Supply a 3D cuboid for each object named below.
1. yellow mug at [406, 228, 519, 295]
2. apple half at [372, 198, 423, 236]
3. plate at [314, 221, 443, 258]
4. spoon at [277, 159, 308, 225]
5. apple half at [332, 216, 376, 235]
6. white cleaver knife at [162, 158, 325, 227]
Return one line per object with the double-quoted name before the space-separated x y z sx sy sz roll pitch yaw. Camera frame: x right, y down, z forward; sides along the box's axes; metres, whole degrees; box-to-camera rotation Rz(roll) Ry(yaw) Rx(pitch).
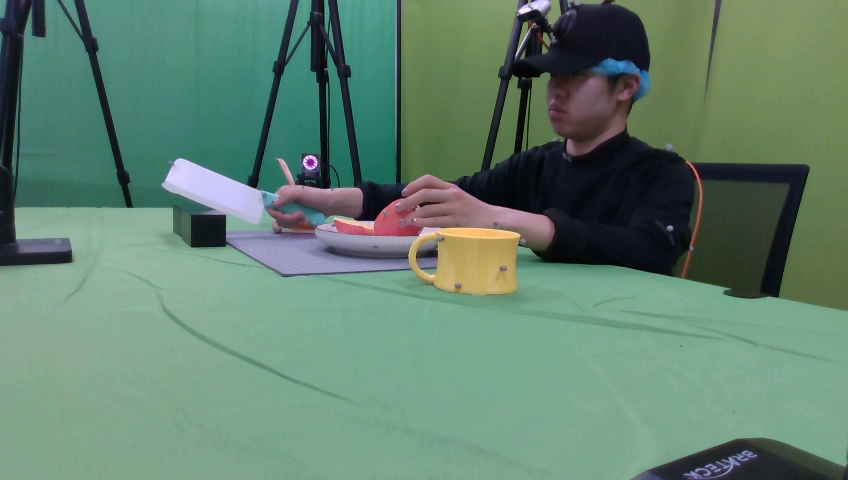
"yellow mug" 0.044 0.022 0.706 0.131 0.064 0.100 2 7 5
"apple half" -0.036 -0.022 0.930 0.074 0.053 0.081 -38 -16 10
"plate" -0.067 -0.002 0.948 0.209 0.038 0.209 3 7 0
"spoon" -0.272 -0.103 1.260 0.042 0.193 0.021 -4 -34 -33
"apple half" -0.110 -0.012 0.972 0.081 0.033 0.081 16 7 -2
"white cleaver knife" -0.303 -0.064 1.052 0.288 0.066 0.021 21 -10 -30
